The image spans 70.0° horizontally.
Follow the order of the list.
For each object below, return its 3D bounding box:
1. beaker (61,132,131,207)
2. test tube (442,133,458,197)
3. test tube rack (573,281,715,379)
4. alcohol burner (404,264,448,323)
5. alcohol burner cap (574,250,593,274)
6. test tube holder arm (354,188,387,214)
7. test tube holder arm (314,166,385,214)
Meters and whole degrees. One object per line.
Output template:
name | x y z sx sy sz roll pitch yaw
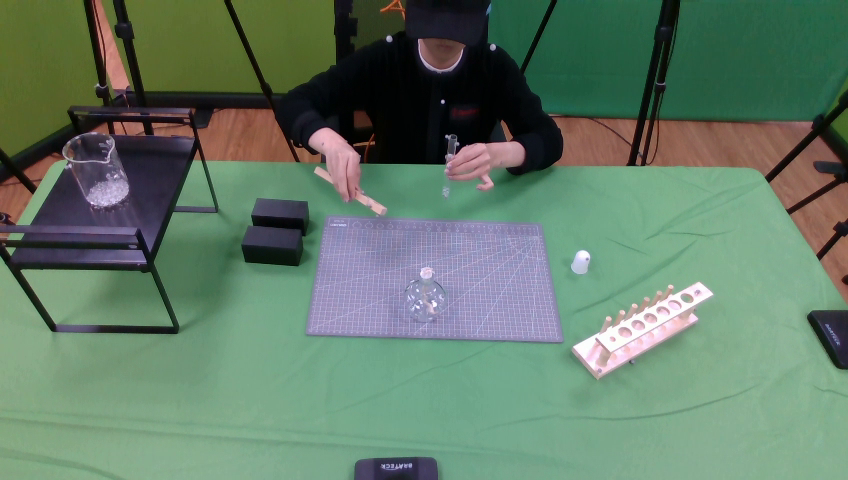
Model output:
beaker | -0.512 -0.107 0.959 0.083 0.101 0.074 29 51 22
test tube | 0.048 -0.137 1.142 0.017 0.151 0.017 3 48 -3
test tube rack | 0.378 0.140 1.038 0.242 0.085 0.066 -22 51 -23
alcohol burner | 0.003 0.087 1.042 0.078 0.120 0.077 1 45 0
alcohol burner cap | 0.308 0.039 1.163 0.034 0.048 0.033 1 46 -1
test tube holder arm | -0.103 -0.072 1.104 0.087 0.015 0.010 32 11 27
test tube holder arm | -0.140 -0.094 1.119 0.177 0.015 0.013 32 11 25
